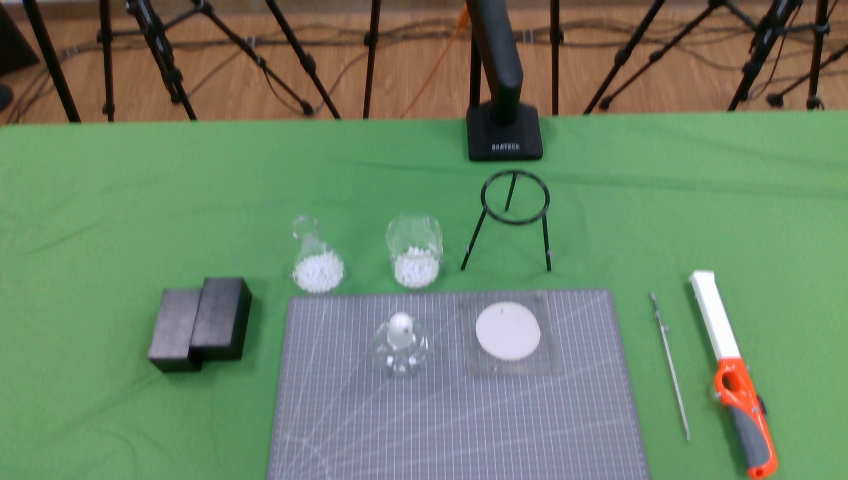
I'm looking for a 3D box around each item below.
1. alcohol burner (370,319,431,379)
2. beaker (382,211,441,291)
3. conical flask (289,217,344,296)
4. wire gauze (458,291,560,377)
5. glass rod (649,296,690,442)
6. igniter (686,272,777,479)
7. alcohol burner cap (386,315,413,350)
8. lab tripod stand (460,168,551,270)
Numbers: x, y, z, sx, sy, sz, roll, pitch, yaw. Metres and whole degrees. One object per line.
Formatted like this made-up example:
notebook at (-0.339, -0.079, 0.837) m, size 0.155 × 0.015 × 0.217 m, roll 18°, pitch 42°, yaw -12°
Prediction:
alcohol burner at (-0.029, 0.127, 0.749) m, size 0.078 × 0.120 × 0.077 m, roll 0°, pitch 59°, yaw 0°
beaker at (-0.012, 0.020, 0.829) m, size 0.083 × 0.101 × 0.074 m, roll 30°, pitch 63°, yaw 18°
conical flask at (-0.152, 0.018, 0.819) m, size 0.075 × 0.123 × 0.074 m, roll 0°, pitch 57°, yaw 1°
wire gauze at (0.112, 0.126, 0.810) m, size 0.125 × 0.011 × 0.120 m, roll -2°, pitch 58°, yaw -3°
glass rod at (0.317, 0.161, 0.787) m, size 0.008 × 0.008 × 0.198 m, roll -1°, pitch 58°, yaw 0°
igniter at (0.389, 0.163, 0.773) m, size 0.057 × 0.025 × 0.274 m, roll 2°, pitch 57°, yaw -9°
alcohol burner cap at (-0.029, 0.107, 0.719) m, size 0.034 × 0.048 × 0.033 m, roll 3°, pitch 58°, yaw -4°
lab tripod stand at (0.115, -0.021, 0.832) m, size 0.148 × 0.132 × 0.147 m, roll -1°, pitch 59°, yaw 1°
